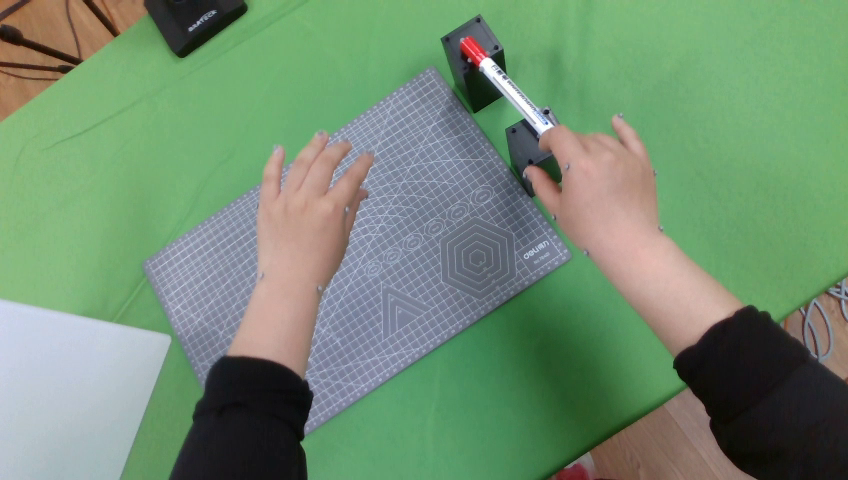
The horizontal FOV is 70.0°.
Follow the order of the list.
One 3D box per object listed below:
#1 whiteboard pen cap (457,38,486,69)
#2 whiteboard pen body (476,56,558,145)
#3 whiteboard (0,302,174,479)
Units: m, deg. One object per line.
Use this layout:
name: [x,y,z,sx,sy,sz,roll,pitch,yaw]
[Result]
whiteboard pen cap: [0.051,-0.196,0.637,0.017,0.017,0.032,-38,75,1]
whiteboard pen body: [0.087,-0.151,0.621,0.017,0.017,0.140,-39,76,1]
whiteboard: [-0.472,0.164,0.647,0.143,0.308,0.216,13,80,34]
